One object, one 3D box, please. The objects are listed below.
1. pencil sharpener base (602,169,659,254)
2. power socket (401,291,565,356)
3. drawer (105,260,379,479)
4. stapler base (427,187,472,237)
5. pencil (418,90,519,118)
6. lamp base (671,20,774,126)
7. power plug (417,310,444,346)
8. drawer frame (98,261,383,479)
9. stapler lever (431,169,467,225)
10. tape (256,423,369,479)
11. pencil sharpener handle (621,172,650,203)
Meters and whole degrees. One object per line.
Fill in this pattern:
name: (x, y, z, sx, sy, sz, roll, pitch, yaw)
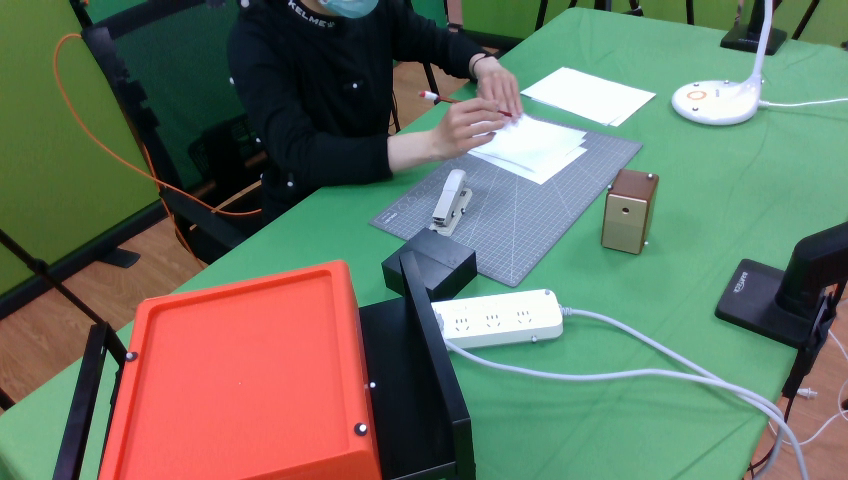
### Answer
pencil sharpener base: (0.312, -0.044, 0.914, 0.061, 0.107, 0.077, 14, 45, 24)
power socket: (0.080, 0.112, 0.822, 0.227, 0.033, 0.072, -6, 41, 0)
drawer: (-0.150, 0.127, 0.525, 0.195, 0.073, 0.210, -11, 41, -5)
stapler base: (0.045, -0.057, 1.028, 0.041, 0.024, 0.130, 10, 45, 20)
pencil: (0.080, -0.234, 1.051, 0.195, 0.012, 0.012, 9, 36, -21)
lamp base: (0.581, -0.332, 1.154, 0.179, 0.181, 0.160, 2, 41, 7)
power plug: (0.006, 0.122, 0.785, 0.035, 0.053, 0.072, -1, 40, 8)
drawer frame: (-0.148, 0.129, 0.520, 0.202, 0.083, 0.212, -12, 41, -6)
stapler lever: (0.043, -0.075, 1.009, 0.026, 0.040, 0.118, 10, 45, 20)
tape: (-0.121, 0.263, 0.660, 0.117, 0.053, 0.116, -4, 40, 4)
pencil sharpener handle: (0.328, -0.087, 0.941, 0.036, 0.068, 0.030, 30, 49, 7)
